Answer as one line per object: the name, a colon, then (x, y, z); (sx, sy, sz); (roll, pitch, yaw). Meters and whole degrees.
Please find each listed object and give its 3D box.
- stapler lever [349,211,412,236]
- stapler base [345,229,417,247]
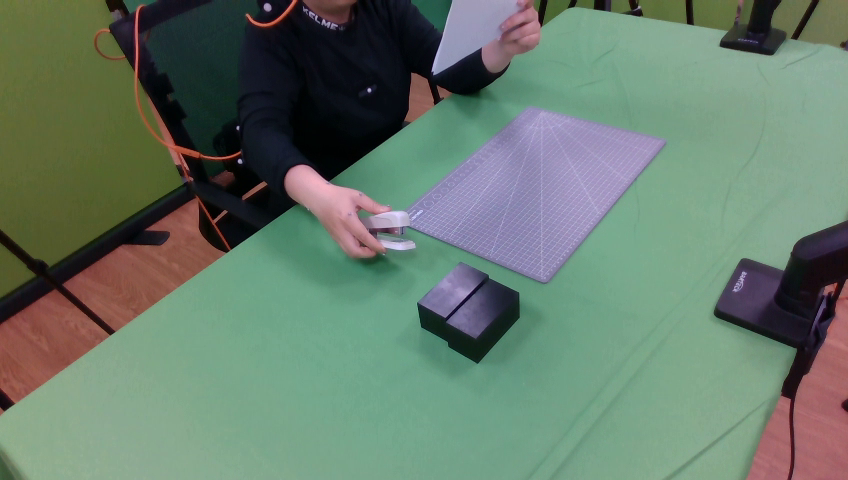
stapler lever: (-0.069, -0.030, 0.950); (0.117, 0.040, 0.027); (9, 9, 39)
stapler base: (-0.068, -0.007, 0.953); (0.129, 0.024, 0.041); (6, 7, 39)
